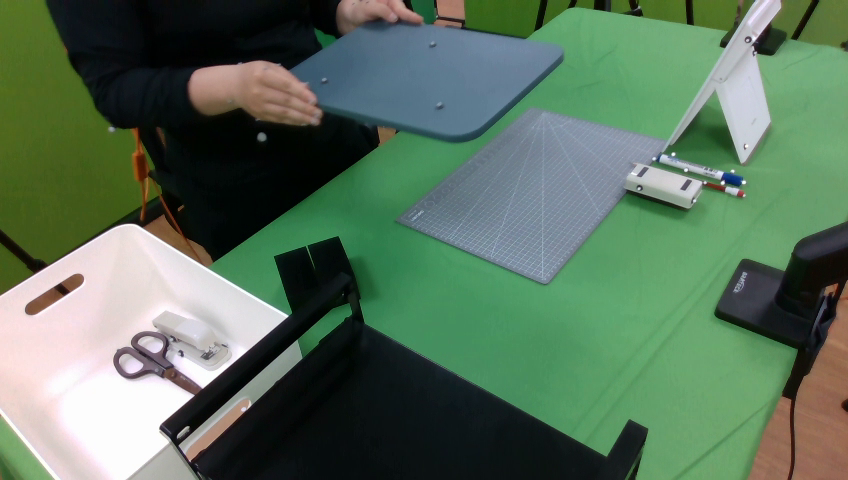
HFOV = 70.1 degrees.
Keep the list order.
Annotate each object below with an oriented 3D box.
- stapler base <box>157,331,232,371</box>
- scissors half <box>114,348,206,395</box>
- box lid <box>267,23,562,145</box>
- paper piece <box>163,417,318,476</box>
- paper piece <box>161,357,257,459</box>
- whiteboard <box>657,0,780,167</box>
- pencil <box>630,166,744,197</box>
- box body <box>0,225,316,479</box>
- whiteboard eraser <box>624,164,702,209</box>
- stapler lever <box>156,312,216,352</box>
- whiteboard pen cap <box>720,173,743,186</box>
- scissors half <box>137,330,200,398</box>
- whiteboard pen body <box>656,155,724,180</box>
[{"bbox_3d":[-0.326,0.142,0.849,0.129,0.024,0.041,18,43,32],"label":"stapler base"},{"bbox_3d":[-0.348,0.185,0.810,0.174,0.013,0.040,14,52,19],"label":"scissors half"},{"bbox_3d":[-0.018,-0.235,0.857,0.368,0.015,0.264,20,49,32],"label":"box lid"},{"bbox_3d":[-0.229,0.236,0.760,0.137,0.008,0.137,32,37,29],"label":"paper piece"},{"bbox_3d":[-0.232,0.219,0.749,0.134,0.004,0.136,25,51,32],"label":"paper piece"},{"bbox_3d":[0.571,-0.272,1.038,0.143,0.306,0.218,37,54,17],"label":"whiteboard"},{"bbox_3d":[0.447,-0.103,1.039,0.192,0.012,0.012,21,48,30],"label":"pencil"},{"bbox_3d":[-0.339,0.162,0.728,0.361,0.161,0.255,23,48,31],"label":"box body"},{"bbox_3d":[0.396,-0.087,1.003,0.112,0.042,0.056,23,48,31],"label":"whiteboard eraser"},{"bbox_3d":[-0.331,0.122,0.835,0.117,0.040,0.027,17,43,33],"label":"stapler lever"},{"bbox_3d":[0.519,-0.103,1.020,0.033,0.018,0.018,23,49,30],"label":"whiteboard pen cap"},{"bbox_3d":[-0.336,0.172,0.822,0.174,0.013,0.040,34,55,32],"label":"scissors half"},{"bbox_3d":[0.475,-0.123,1.052,0.139,0.017,0.017,24,50,32],"label":"whiteboard pen body"}]
